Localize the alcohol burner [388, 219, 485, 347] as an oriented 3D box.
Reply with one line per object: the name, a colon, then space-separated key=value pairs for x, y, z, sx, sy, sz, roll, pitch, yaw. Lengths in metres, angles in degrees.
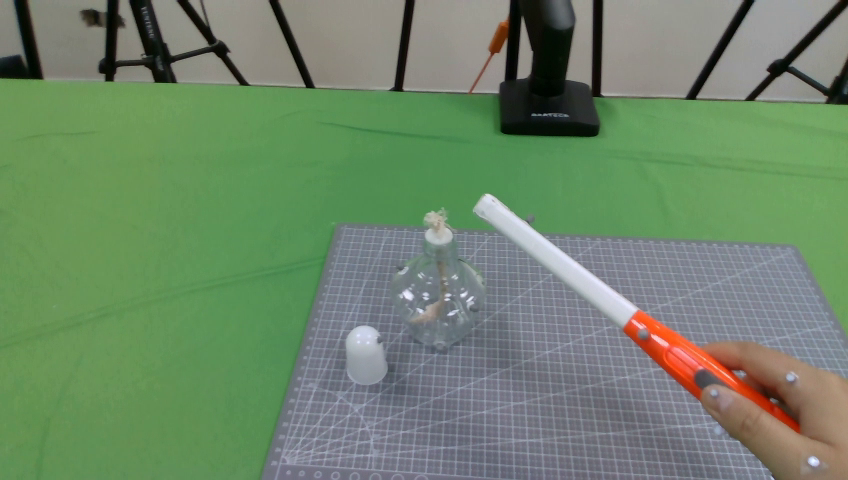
alcohol burner: x=0.010 y=0.029 z=0.475 sx=0.078 sy=0.120 sz=0.077 roll=1 pitch=43 yaw=-1

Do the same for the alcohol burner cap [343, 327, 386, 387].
alcohol burner cap: x=-0.047 y=0.086 z=0.464 sx=0.034 sy=0.048 sz=0.033 roll=1 pitch=42 yaw=0

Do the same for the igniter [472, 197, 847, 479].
igniter: x=0.134 y=0.058 z=0.364 sx=0.274 sy=0.057 sz=0.025 roll=41 pitch=100 yaw=28
